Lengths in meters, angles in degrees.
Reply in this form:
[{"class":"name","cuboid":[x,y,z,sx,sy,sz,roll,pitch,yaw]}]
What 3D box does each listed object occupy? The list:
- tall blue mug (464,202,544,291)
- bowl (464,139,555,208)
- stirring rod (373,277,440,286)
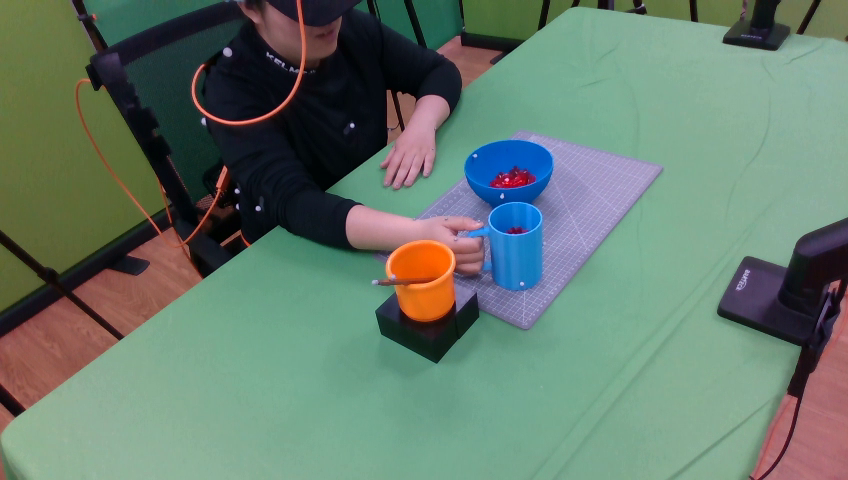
[{"class":"tall blue mug","cuboid":[0.120,0.015,0.870,0.107,0.108,0.077,-22,43,-15]},{"class":"bowl","cuboid":[0.145,-0.100,1.025,0.151,0.077,0.150,-5,40,5]},{"class":"stirring rod","cuboid":[-0.018,0.052,0.758,0.014,0.006,0.177,12,2,23]}]
